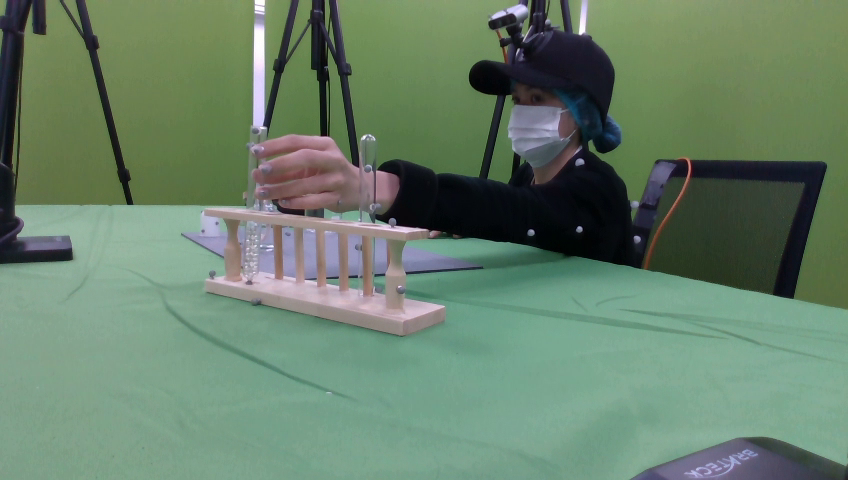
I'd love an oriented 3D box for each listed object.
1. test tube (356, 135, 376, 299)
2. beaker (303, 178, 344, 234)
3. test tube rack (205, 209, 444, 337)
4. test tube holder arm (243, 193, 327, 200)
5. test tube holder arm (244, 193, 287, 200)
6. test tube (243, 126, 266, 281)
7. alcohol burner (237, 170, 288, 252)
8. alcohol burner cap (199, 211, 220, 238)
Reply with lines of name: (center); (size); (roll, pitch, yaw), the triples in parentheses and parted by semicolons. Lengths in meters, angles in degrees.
test tube: (-0.053, -0.019, 0.550); (0.017, 0.150, 0.017); (2, 9, 0)
beaker: (-0.189, -0.063, 1.119); (0.073, 0.100, 0.084); (6, 9, 28)
test tube rack: (-0.100, 0.021, 0.565); (0.241, 0.085, 0.067); (7, 9, 32)
test tube holder arm: (-0.287, -0.090, 1.262); (0.179, 0.015, 0.013); (-2, 3, -33)
test tube holder arm: (-0.322, -0.089, 1.232); (0.088, 0.015, 0.010); (-2, 3, -32)
test tube: (-0.163, -0.034, 0.583); (0.017, 0.150, 0.017); (5, 9, -1)
alcohol burner: (-0.236, -0.042, 0.882); (0.078, 0.119, 0.078); (2, 9, 0)
alcohol burner cap: (-0.356, -0.027, 1.002); (0.034, 0.048, 0.034); (2, 7, 0)
